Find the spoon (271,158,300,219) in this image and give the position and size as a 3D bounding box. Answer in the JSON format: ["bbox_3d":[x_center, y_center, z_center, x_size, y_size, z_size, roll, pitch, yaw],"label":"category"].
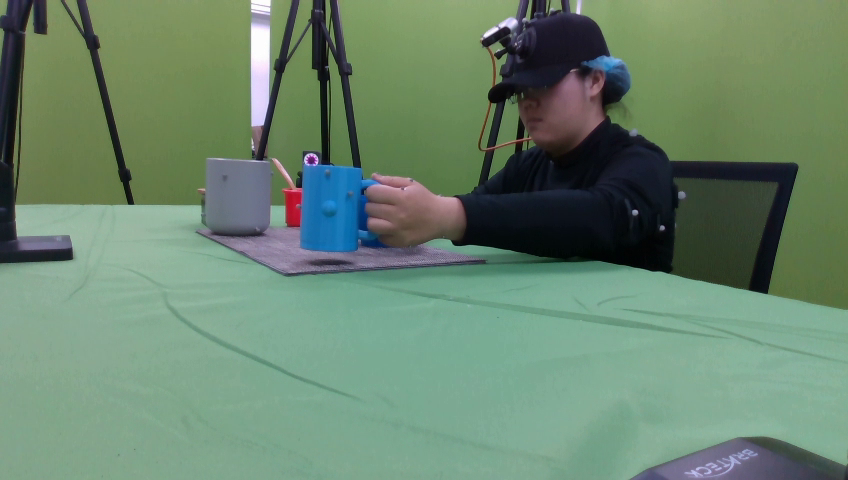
[{"bbox_3d":[-0.268,-0.103,1.236,0.042,0.193,0.021,-9,-32,-40],"label":"spoon"}]

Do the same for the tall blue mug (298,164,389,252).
[{"bbox_3d":[-0.109,-0.042,0.792,0.108,0.108,0.077,0,5,-34],"label":"tall blue mug"}]

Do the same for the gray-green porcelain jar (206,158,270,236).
[{"bbox_3d":[-0.317,-0.074,1.032,0.106,0.126,0.106,3,7,0],"label":"gray-green porcelain jar"}]

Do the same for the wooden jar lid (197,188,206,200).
[{"bbox_3d":[-0.383,-0.088,1.175,0.108,0.020,0.108,3,8,0],"label":"wooden jar lid"}]

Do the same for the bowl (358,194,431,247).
[{"bbox_3d":[-0.066,-0.031,0.984,0.151,0.077,0.151,2,7,0],"label":"bowl"}]
